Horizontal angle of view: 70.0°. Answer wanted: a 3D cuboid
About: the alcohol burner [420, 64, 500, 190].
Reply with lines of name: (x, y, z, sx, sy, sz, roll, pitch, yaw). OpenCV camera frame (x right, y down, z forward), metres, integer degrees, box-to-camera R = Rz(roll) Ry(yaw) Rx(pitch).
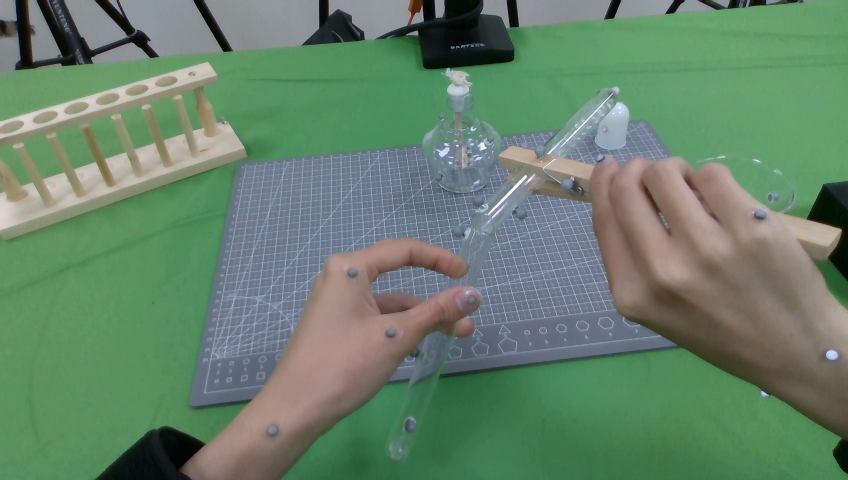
alcohol burner: (0.033, -0.109, 0.574, 0.078, 0.120, 0.077, -3, 42, 3)

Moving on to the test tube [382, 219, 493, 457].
test tube: (0.006, 0.059, 0.344, 0.017, 0.151, 0.017, 20, 12, -4)

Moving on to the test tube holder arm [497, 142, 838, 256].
test tube holder arm: (0.104, -0.026, 0.302, 0.015, 0.013, 0.176, -39, 38, -24)

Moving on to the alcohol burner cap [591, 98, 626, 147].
alcohol burner cap: (0.194, -0.125, 0.631, 0.034, 0.048, 0.033, -2, 44, 2)

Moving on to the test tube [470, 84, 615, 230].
test tube: (0.076, -0.055, 0.365, 0.017, 0.017, 0.150, 27, 54, 29)

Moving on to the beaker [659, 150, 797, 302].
beaker: (0.225, -0.009, 0.467, 0.074, 0.101, 0.083, -28, 48, -22)

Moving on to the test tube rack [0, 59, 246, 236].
test tube rack: (-0.317, -0.098, 0.611, 0.243, 0.086, 0.066, -23, 47, -20)

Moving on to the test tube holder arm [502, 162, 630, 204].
test tube holder arm: (0.079, -0.033, 0.338, 0.015, 0.010, 0.087, -38, 31, -24)
